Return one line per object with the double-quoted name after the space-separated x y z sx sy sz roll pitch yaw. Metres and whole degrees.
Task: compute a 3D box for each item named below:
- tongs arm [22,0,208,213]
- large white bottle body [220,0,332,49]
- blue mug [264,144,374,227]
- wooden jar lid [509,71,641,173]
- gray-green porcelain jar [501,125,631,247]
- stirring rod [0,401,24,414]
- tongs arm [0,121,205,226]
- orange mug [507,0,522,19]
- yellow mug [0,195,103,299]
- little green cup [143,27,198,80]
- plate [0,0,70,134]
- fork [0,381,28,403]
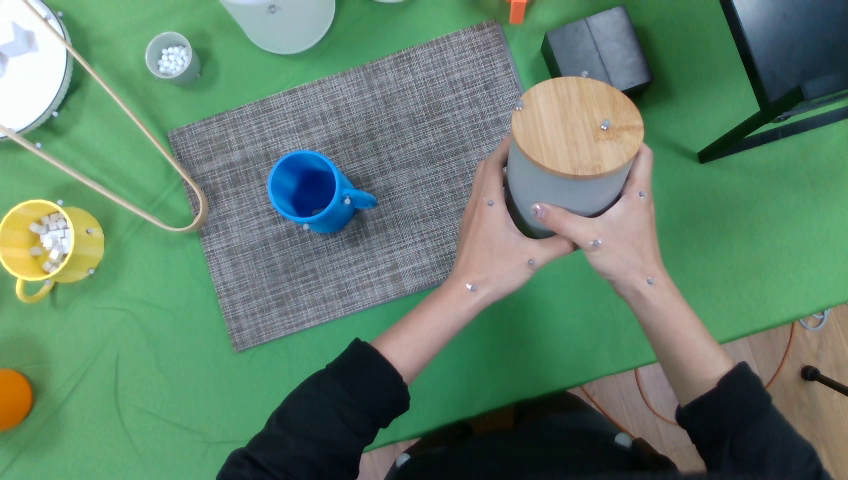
-0.404 -0.186 0.767 0.028 0.028 0.387 -43 91 -9 "tongs arm"
-0.189 -0.320 0.710 0.130 0.185 0.130 0 85 3 "large white bottle body"
-0.117 -0.060 0.722 0.116 0.106 0.082 7 85 4 "blue mug"
0.124 -0.097 0.508 0.108 0.021 0.107 -1 59 2 "wooden jar lid"
0.127 -0.062 0.560 0.106 0.127 0.105 -1 57 2 "gray-green porcelain jar"
-0.573 0.206 0.708 0.006 0.177 0.014 -32 64 43 "stirring rod"
-0.456 -0.120 0.762 0.385 0.026 0.050 33 84 -2 "tongs arm"
0.115 -0.343 0.739 0.083 0.101 0.126 5 81 4 "orange mug"
-0.475 0.012 0.758 0.100 0.064 0.130 20 88 4 "yellow mug"
-0.325 -0.238 0.783 0.061 0.039 0.061 0 86 2 "little green cup"
-0.562 -0.237 0.796 0.207 0.039 0.207 0 86 3 "plate"
-0.587 0.191 0.707 0.209 0.018 0.028 0 82 -41 "fork"
